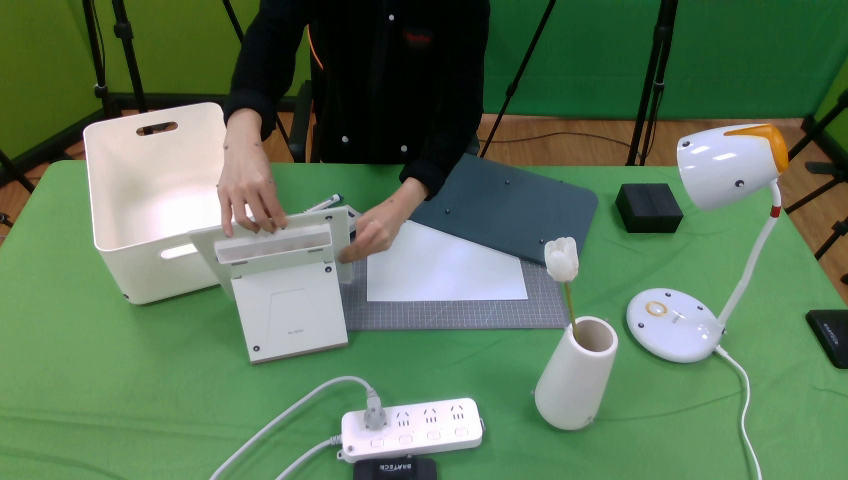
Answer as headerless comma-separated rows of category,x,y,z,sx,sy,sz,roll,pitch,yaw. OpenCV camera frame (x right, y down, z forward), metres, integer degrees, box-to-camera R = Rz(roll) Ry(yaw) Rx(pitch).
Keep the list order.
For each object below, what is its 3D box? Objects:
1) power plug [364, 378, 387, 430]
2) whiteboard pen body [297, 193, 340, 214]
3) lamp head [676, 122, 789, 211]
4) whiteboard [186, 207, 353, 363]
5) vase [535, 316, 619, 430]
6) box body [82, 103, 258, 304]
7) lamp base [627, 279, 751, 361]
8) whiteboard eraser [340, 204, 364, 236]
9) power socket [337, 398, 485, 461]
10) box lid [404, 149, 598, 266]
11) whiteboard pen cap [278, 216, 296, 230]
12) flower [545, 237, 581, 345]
power plug,-0.071,0.252,0.911,0.035,0.053,0.072,3,40,0
whiteboard pen body,-0.230,-0.061,1.243,0.141,0.017,0.017,-32,57,-30
lamp head,0.423,-0.104,0.819,0.122,0.113,0.112,-13,33,40
whiteboard,-0.212,0.089,0.936,0.217,0.306,0.143,-8,68,-8
vase,0.229,0.200,0.901,0.098,0.201,0.097,3,46,-3
box body,-0.465,-0.077,1.137,0.254,0.161,0.361,-16,50,-19
lamp base,0.460,0.100,1.027,0.178,0.181,0.160,27,51,17
whiteboard eraser,-0.175,-0.022,1.188,0.055,0.042,0.112,36,54,26
power socket,-0.018,0.285,0.914,0.227,0.033,0.071,-4,46,-8
box lid,0.171,-0.074,1.289,0.371,0.015,0.262,19,47,14
whiteboard pen cap,-0.273,-0.035,1.213,0.033,0.018,0.018,-32,56,-32
flower,0.213,0.137,0.846,0.038,0.364,0.044,21,55,40
